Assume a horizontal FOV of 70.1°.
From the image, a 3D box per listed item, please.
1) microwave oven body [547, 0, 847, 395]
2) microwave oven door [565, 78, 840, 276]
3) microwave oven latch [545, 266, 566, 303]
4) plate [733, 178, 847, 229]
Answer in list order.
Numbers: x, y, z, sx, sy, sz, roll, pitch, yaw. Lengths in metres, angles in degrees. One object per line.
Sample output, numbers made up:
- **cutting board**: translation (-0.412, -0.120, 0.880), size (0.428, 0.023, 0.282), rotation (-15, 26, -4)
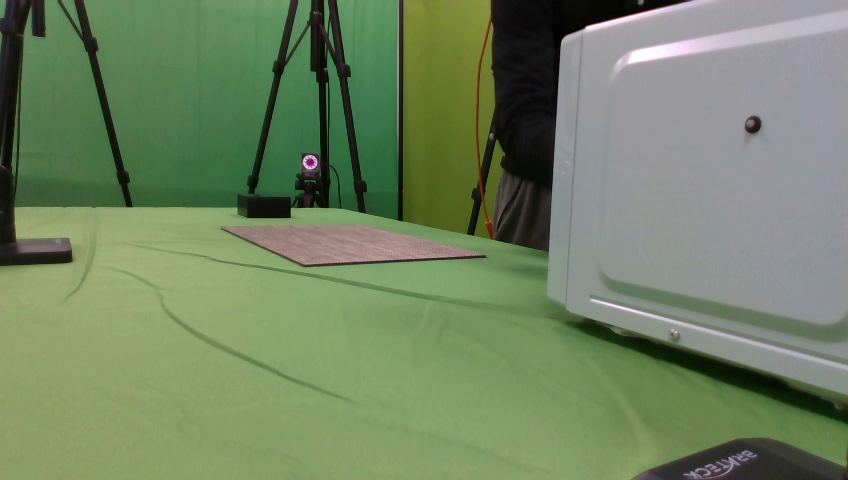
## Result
- **microwave oven body**: translation (0.379, -0.046, 0.510), size (0.444, 0.260, 0.324), rotation (-2, 7, -31)
- **microwave oven door**: translation (0.368, -0.093, 0.859), size (0.354, 0.243, 0.039), rotation (8, 9, 44)
- **microwave oven latch**: translation (0.148, 0.039, 0.555), size (0.079, 0.029, 0.030), rotation (-1, 7, -28)
- **plate**: translation (0.402, -0.032, 0.566), size (0.209, 0.038, 0.209), rotation (4, 8, 0)
